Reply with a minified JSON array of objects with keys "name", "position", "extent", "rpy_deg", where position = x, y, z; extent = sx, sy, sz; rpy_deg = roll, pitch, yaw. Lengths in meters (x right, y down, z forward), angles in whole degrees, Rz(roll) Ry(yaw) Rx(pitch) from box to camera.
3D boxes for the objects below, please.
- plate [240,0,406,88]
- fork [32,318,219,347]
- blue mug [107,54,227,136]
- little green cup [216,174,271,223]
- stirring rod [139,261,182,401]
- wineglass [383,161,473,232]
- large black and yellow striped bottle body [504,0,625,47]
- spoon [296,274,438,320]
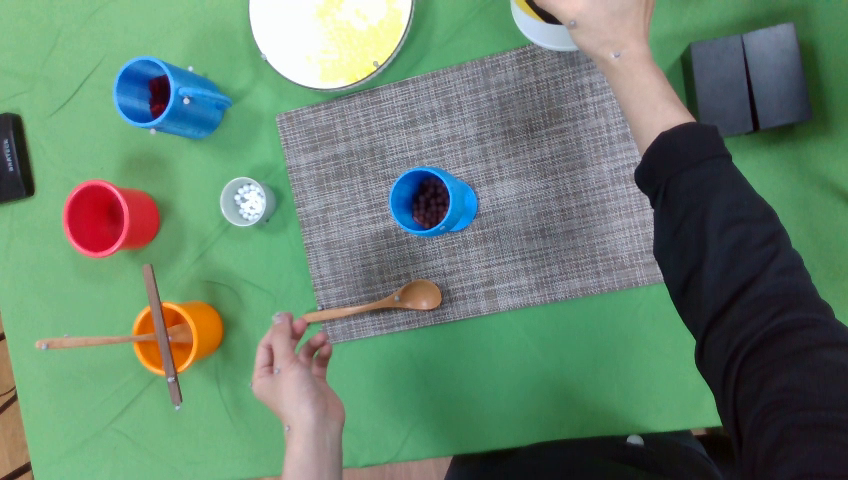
[{"name":"plate","position":[-0.120,-0.288,0.735],"extent":[0.209,0.038,0.209],"rpy_deg":[1,94,11]},{"name":"fork","position":[-0.364,0.117,0.753],"extent":[0.208,0.018,0.028],"rpy_deg":[-1,101,-32]},{"name":"blue mug","position":[-0.303,-0.175,0.744],"extent":[0.116,0.106,0.082],"rpy_deg":[1,93,11]},{"name":"little green cup","position":[-0.227,-0.052,0.771],"extent":[0.061,0.038,0.061],"rpy_deg":[1,94,12]},{"name":"stirring rod","position":[-0.323,0.111,0.741],"extent":[0.014,0.006,0.176],"rpy_deg":[-13,91,13]},{"name":"wineglass","position":[0.009,-0.045,0.650],"extent":[0.073,0.172,0.074],"rpy_deg":[1,93,12]},{"name":"large black and yellow striped bottle body","position":[0.130,-0.284,0.569],"extent":[0.130,0.185,0.130],"rpy_deg":[-3,77,14]},{"name":"spoon","position":[-0.075,0.076,0.752],"extent":[0.193,0.021,0.042],"rpy_deg":[-14,113,12]}]
